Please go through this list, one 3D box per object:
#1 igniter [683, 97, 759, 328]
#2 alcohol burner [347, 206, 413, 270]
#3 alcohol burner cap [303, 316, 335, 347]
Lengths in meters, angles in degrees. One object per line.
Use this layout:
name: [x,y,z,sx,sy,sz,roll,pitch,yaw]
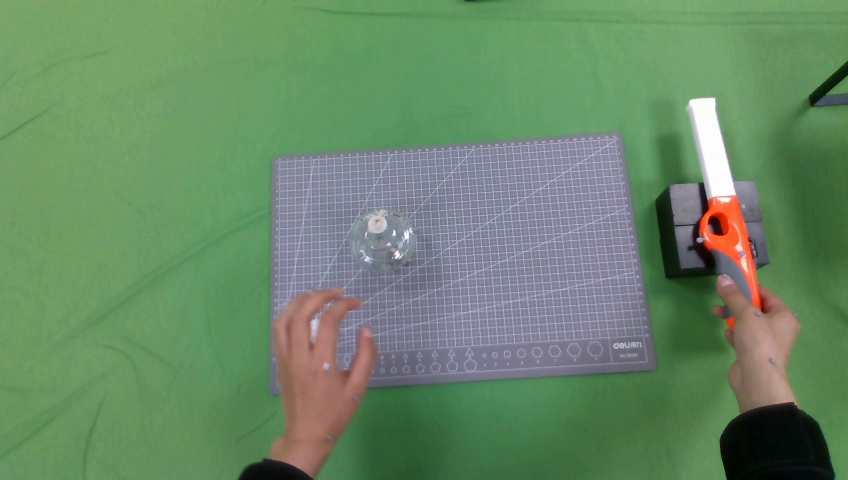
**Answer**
igniter: [0.335,-0.038,0.688,0.057,0.025,0.274,-3,72,2]
alcohol burner: [-0.051,-0.007,0.692,0.078,0.119,0.077,0,74,0]
alcohol burner cap: [-0.124,0.105,0.702,0.034,0.048,0.033,0,73,2]
